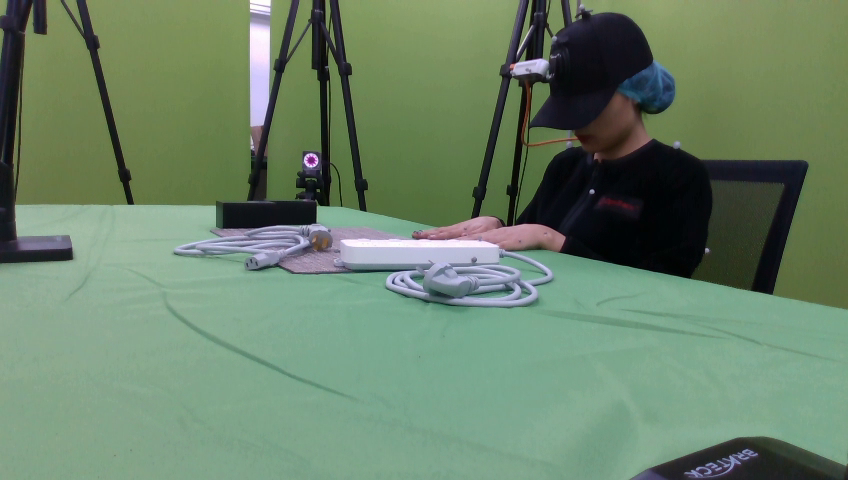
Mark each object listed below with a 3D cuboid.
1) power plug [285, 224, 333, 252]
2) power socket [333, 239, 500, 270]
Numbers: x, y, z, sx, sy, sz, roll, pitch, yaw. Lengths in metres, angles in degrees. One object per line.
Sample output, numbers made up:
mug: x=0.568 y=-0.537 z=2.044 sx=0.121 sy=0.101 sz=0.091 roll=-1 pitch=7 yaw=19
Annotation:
power plug: x=-0.171 y=0.000 z=0.898 sx=0.072 sy=0.035 sz=0.052 roll=-10 pitch=31 yaw=7
power socket: x=-0.005 y=0.018 z=0.798 sx=0.227 sy=0.032 sz=0.072 roll=1 pitch=8 yaw=-17
